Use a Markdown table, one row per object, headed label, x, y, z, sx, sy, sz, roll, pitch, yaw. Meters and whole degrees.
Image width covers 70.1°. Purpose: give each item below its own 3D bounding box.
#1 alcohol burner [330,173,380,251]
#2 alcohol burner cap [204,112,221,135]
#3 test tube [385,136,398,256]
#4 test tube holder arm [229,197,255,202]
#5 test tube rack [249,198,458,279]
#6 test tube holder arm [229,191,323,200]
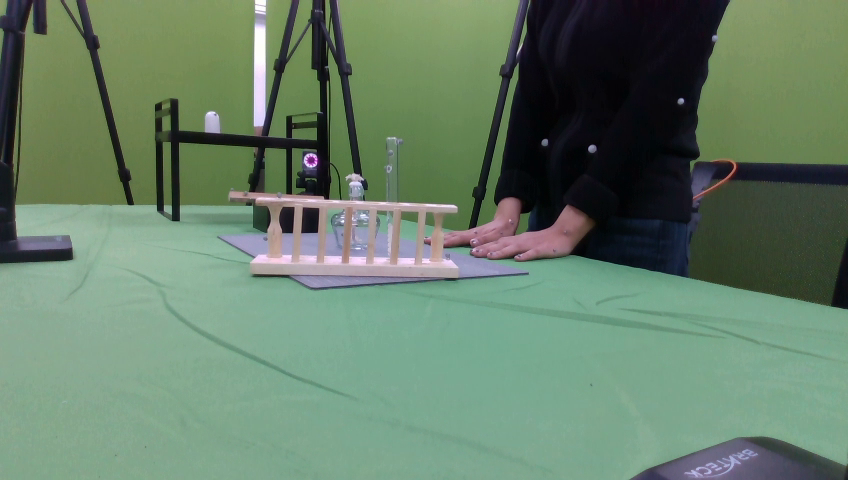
| label | x | y | z | sx | sy | sz | roll | pitch | yaw |
| --- | --- | --- | --- | --- | --- | --- | --- | --- | --- |
| alcohol burner | -0.107 | -0.044 | 0.938 | 0.078 | 0.119 | 0.078 | 1 | 6 | 0 |
| alcohol burner cap | -0.444 | -0.245 | 1.270 | 0.034 | 0.048 | 0.034 | 4 | 8 | 0 |
| test tube | -0.040 | -0.053 | 0.751 | 0.017 | 0.150 | 0.017 | 0 | 5 | 0 |
| test tube holder arm | -0.320 | -0.079 | 1.133 | 0.088 | 0.015 | 0.010 | -1 | -24 | -27 |
| test tube rack | -0.082 | -0.002 | 0.733 | 0.243 | 0.085 | 0.066 | 2 | 8 | -8 |
| test tube holder arm | -0.278 | -0.082 | 1.150 | 0.179 | 0.015 | 0.013 | -1 | -25 | -28 |
